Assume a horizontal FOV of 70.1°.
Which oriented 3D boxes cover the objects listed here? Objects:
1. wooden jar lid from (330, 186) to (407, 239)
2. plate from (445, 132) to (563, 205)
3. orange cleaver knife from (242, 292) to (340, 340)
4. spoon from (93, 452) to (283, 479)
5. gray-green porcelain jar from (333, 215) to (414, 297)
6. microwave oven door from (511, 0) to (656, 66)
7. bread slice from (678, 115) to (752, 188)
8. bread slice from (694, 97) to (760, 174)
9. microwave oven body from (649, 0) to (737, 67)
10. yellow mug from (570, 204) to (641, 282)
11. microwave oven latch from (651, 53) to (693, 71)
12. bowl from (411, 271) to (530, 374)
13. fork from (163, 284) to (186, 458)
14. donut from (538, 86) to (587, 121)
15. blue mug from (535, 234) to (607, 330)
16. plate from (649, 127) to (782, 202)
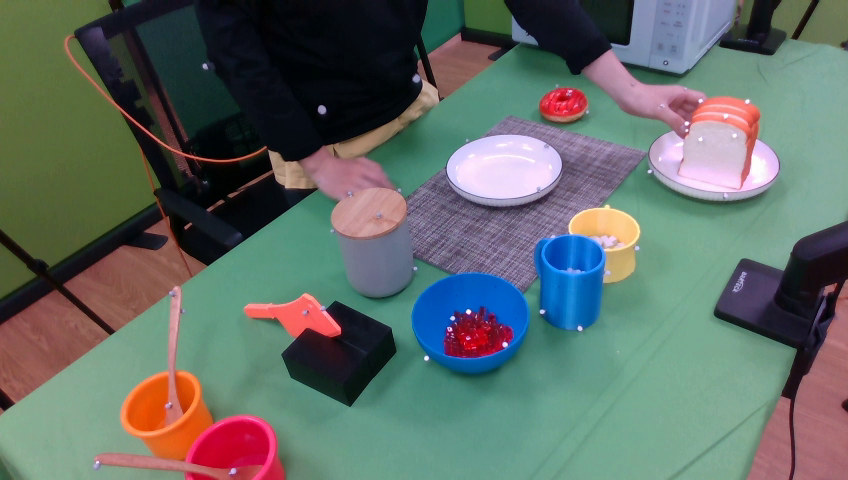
[{"bbox_3d":[-0.077,-0.035,0.846,0.108,0.021,0.108,-5,41,5],"label":"wooden jar lid"},{"bbox_3d":[0.142,-0.123,1.076,0.209,0.038,0.208,-4,41,4],"label":"plate"},{"bbox_3d":[-0.185,0.107,0.827,0.210,0.077,0.012,-9,28,48],"label":"orange cleaver knife"},{"bbox_3d":[-0.240,0.239,0.632,0.195,0.021,0.041,26,33,-32],"label":"spoon"},{"bbox_3d":[-0.071,0.012,0.887,0.106,0.127,0.105,-4,41,4],"label":"gray-green porcelain jar"},{"bbox_3d":[0.350,-0.539,1.348,0.353,0.245,0.039,24,50,31],"label":"microwave oven door"},{"bbox_3d":[0.468,-0.143,0.976,0.104,0.132,0.019,18,55,30],"label":"bread slice"},{"bbox_3d":[0.497,-0.173,1.004,0.106,0.135,0.018,23,52,25],"label":"bread slice"},{"bbox_3d":[0.475,-0.602,1.411,0.438,0.261,0.327,23,50,32],"label":"microwave oven body"},{"bbox_3d":[0.268,-0.005,0.904,0.099,0.064,0.130,7,41,15],"label":"yellow mug"},{"bbox_3d":[0.533,-0.387,1.301,0.078,0.029,0.030,28,53,35],"label":"microwave oven latch"},{"bbox_3d":[0.062,0.120,0.780,0.151,0.077,0.150,-4,40,4],"label":"bowl"},{"bbox_3d":[-0.302,0.157,0.733,0.028,0.019,0.207,-3,84,15],"label":"fork"},{"bbox_3d":[0.283,-0.280,1.239,0.099,0.048,0.098,-5,42,5],"label":"donut"},{"bbox_3d":[0.191,0.048,0.824,0.082,0.106,0.115,-26,44,-20],"label":"blue mug"},{"bbox_3d":[0.493,-0.127,1.036,0.207,0.039,0.206,-4,41,4],"label":"plate"}]
